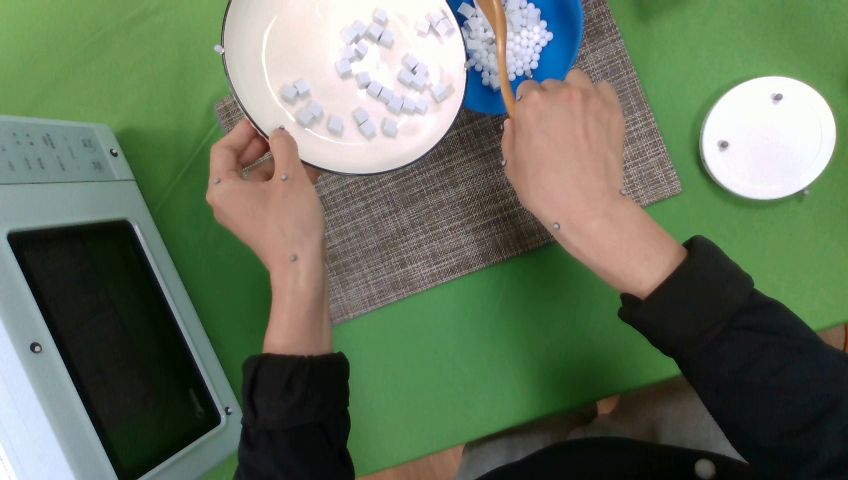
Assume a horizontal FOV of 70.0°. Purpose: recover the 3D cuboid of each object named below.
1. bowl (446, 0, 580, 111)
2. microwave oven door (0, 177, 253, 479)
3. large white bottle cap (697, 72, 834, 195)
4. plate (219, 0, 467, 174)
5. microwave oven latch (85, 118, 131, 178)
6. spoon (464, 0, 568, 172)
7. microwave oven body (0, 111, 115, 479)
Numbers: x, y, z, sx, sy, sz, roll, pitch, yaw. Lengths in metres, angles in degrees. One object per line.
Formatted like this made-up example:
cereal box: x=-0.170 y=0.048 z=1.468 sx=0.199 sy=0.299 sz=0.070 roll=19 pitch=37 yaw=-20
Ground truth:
bowl: x=0.077 y=-0.199 z=0.590 sx=0.151 sy=0.077 sz=0.151 roll=2 pitch=99 yaw=16
microwave oven door: x=-0.334 y=0.103 z=0.652 sx=0.039 sy=0.244 sz=0.355 roll=-25 pitch=90 yaw=18
large white bottle cap: x=0.320 y=-0.099 z=0.571 sx=0.114 sy=0.018 sz=0.115 roll=2 pitch=99 yaw=15
plate: x=-0.066 y=-0.156 z=0.524 sx=0.210 sy=0.038 sz=0.208 roll=2 pitch=84 yaw=-18
microwave oven latch: x=-0.394 y=-0.110 z=0.744 sx=0.030 sy=0.029 sz=0.079 roll=-24 pitch=92 yaw=17
spoon: x=0.073 y=-0.138 z=0.499 sx=0.022 sy=0.042 sz=0.192 roll=-14 pitch=73 yaw=-15
microwave oven body: x=-0.476 y=0.122 z=0.700 sx=0.326 sy=0.260 sz=0.441 roll=-24 pitch=91 yaw=17
